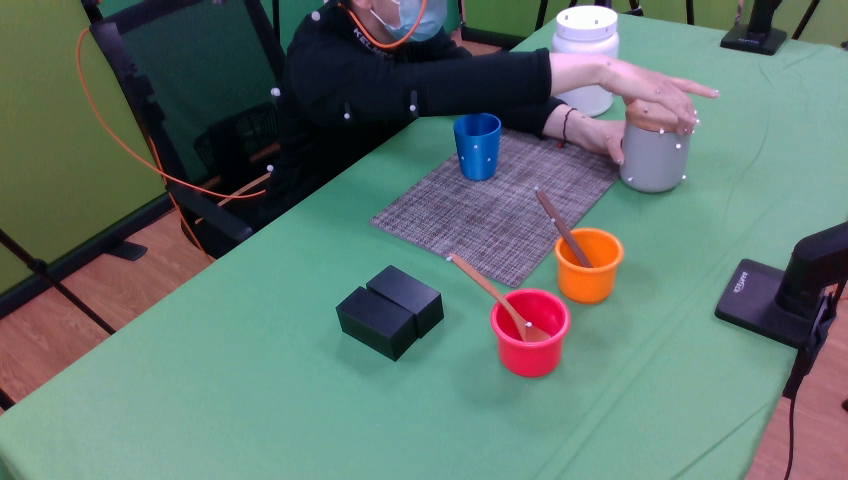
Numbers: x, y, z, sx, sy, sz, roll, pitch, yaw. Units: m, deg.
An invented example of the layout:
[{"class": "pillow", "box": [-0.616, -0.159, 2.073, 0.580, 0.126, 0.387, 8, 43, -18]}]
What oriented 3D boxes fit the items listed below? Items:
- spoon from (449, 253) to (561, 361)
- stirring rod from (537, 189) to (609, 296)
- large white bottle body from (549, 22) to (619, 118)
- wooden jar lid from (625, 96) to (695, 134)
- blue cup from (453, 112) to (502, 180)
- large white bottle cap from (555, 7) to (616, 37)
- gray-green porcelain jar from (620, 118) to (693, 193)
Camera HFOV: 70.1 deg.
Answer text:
[{"class": "spoon", "box": [0.103, 0.083, 0.770, 0.194, 0.021, 0.042, 47, 52, -7]}, {"class": "stirring rod", "box": [0.210, 0.003, 0.855, 0.014, 0.006, 0.176, -32, 89, -30]}, {"class": "large white bottle body", "box": [0.320, -0.356, 1.218, 0.130, 0.185, 0.130, -4, 41, 4]}, {"class": "wooden jar lid", "box": [0.380, -0.198, 0.977, 0.108, 0.021, 0.108, -3, 44, 4]}, {"class": "blue cup", "box": [0.097, -0.166, 1.088, 0.092, 0.100, 0.092, -3, 41, 3]}, {"class": "large white bottle cap", "box": [0.311, -0.420, 1.163, 0.115, 0.018, 0.114, -4, 41, 4]}, {"class": "gray-green porcelain jar", "box": [0.387, -0.151, 1.016, 0.106, 0.127, 0.105, -4, 40, 4]}]
